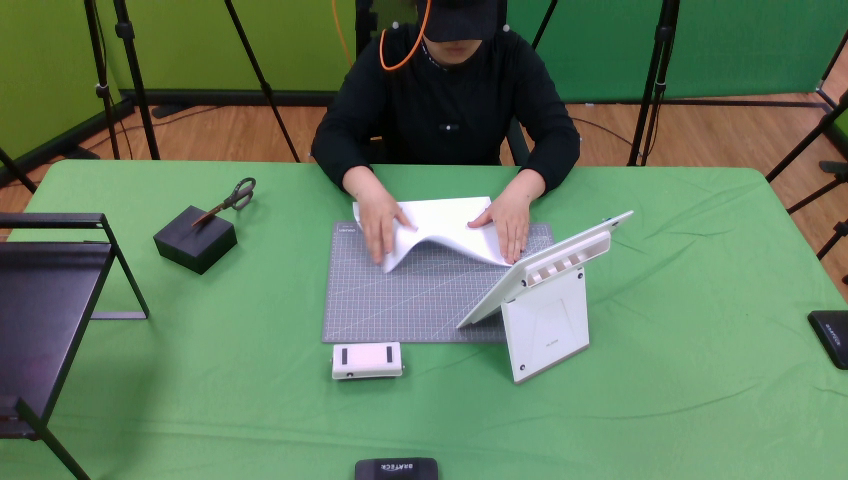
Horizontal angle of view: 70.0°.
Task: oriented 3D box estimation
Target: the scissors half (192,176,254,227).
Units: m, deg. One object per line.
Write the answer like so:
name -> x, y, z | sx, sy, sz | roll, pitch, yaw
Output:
scissors half -> -0.388, -0.075, 1.174 | 0.013, 0.040, 0.174 | 29, 48, 8

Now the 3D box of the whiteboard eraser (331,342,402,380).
whiteboard eraser -> -0.094, 0.198, 0.986 | 0.113, 0.042, 0.055 | -2, 44, -6

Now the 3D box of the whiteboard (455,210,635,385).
whiteboard -> 0.211, 0.111, 0.955 | 0.217, 0.306, 0.143 | -21, 71, -23

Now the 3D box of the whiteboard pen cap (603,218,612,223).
whiteboard pen cap -> 0.378, -0.031, 1.255 | 0.033, 0.018, 0.018 | -33, 57, -30

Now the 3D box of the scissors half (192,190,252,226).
scissors half -> -0.393, -0.060, 1.187 | 0.013, 0.040, 0.175 | 25, 29, 11

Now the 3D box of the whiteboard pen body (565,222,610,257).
whiteboard pen body -> 0.335, -0.004, 1.228 | 0.141, 0.017, 0.017 | -32, 56, -29
